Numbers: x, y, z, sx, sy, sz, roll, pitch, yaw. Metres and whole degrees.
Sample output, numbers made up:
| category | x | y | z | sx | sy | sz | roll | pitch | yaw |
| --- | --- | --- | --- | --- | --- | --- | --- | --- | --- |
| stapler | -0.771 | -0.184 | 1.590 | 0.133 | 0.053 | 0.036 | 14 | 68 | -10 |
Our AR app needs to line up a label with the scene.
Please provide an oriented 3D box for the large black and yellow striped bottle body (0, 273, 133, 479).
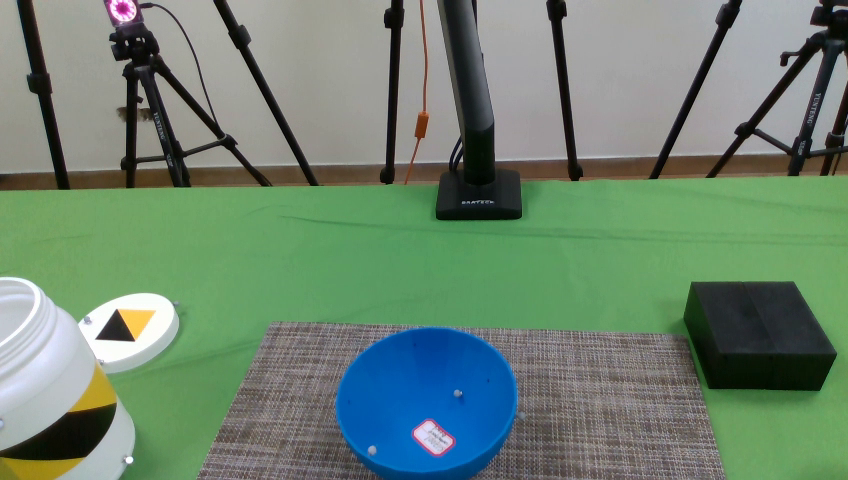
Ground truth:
| category | x | y | z | sx | sy | sz | roll | pitch | yaw |
| --- | --- | --- | --- | --- | --- | --- | --- | --- | --- |
| large black and yellow striped bottle body | -0.339 | 0.131 | 0.503 | 0.131 | 0.185 | 0.129 | -3 | 37 | 3 |

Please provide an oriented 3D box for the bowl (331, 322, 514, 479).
| category | x | y | z | sx | sy | sz | roll | pitch | yaw |
| --- | --- | --- | --- | --- | --- | --- | --- | --- | --- |
| bowl | 0.001 | 0.150 | 0.520 | 0.151 | 0.077 | 0.150 | -3 | 37 | 3 |

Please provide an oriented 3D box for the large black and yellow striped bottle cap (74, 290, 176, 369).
| category | x | y | z | sx | sy | sz | roll | pitch | yaw |
| --- | --- | --- | --- | --- | --- | --- | --- | --- | --- |
| large black and yellow striped bottle cap | -0.344 | 0.099 | 0.689 | 0.115 | 0.019 | 0.114 | -2 | 36 | 2 |
